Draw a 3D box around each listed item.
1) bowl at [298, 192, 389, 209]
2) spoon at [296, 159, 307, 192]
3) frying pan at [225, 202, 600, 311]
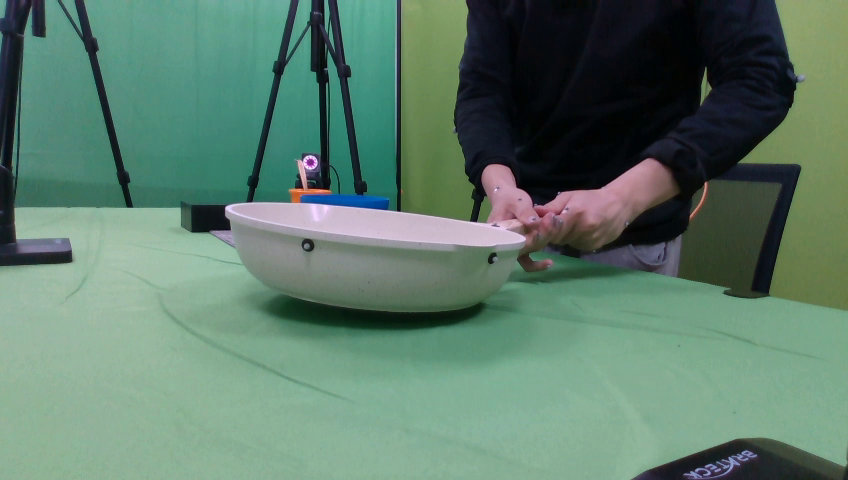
[{"bbox_3d":[-0.136,-0.037,1.018,0.151,0.077,0.151,3,7,0],"label":"bowl"},{"bbox_3d":[-0.264,-0.113,1.338,0.042,0.193,0.021,0,-37,-21],"label":"spoon"},{"bbox_3d":[0.036,-0.005,0.667,0.490,0.102,0.305,-9,15,-35],"label":"frying pan"}]
